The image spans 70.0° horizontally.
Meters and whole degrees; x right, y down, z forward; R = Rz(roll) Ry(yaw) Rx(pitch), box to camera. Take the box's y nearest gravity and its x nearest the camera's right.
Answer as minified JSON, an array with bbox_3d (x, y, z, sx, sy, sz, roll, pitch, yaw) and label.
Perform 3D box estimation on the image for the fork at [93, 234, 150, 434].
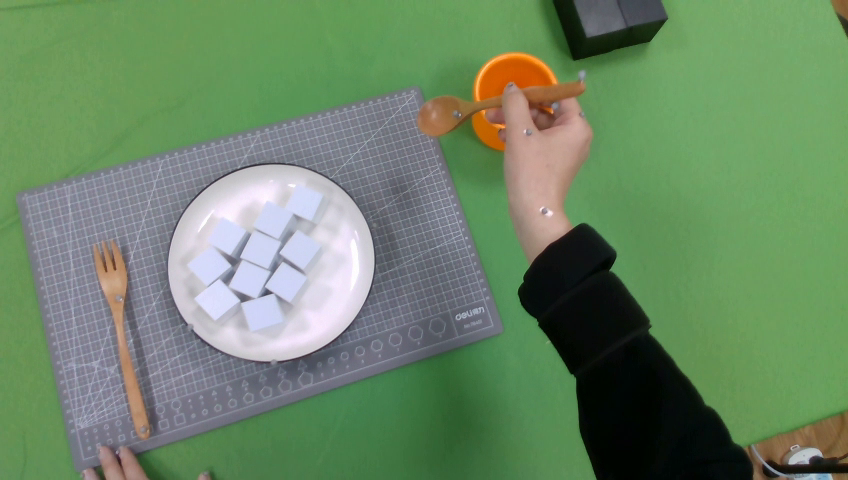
[{"bbox_3d":[-0.304,0.093,0.613,0.028,0.019,0.206,-14,78,-12],"label":"fork"}]

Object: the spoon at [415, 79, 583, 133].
[{"bbox_3d":[0.057,-0.121,0.531,0.022,0.192,0.041,18,82,-36],"label":"spoon"}]

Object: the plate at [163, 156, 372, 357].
[{"bbox_3d":[-0.158,0.017,0.630,0.208,0.039,0.206,1,79,-4],"label":"plate"}]
